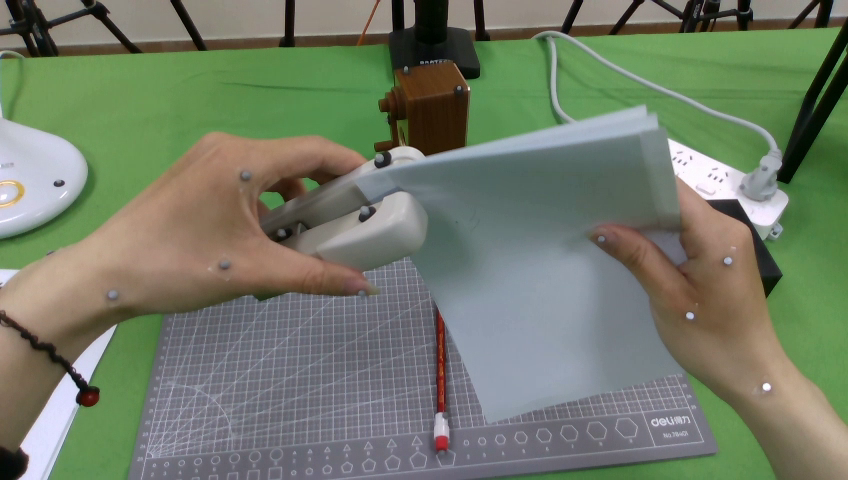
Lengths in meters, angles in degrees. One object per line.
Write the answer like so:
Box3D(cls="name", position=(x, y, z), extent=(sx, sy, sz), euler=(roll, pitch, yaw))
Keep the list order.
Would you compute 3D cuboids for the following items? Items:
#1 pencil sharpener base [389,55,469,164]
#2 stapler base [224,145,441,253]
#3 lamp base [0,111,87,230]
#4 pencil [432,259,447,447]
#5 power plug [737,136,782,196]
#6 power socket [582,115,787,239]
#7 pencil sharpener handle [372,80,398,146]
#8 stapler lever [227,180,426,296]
Box3D(cls="pencil sharpener base", position=(0.003, -0.141, 0.674), extent=(0.077, 0.108, 0.060), euler=(-12, 50, -12))
Box3D(cls="stapler base", position=(-0.053, -0.010, 0.340), extent=(0.130, 0.042, 0.024), euler=(-22, 37, 20))
Box3D(cls="lamp base", position=(-0.452, -0.126, 0.594), extent=(0.161, 0.182, 0.177), euler=(-29, 52, -25))
Box3D(cls="pencil", position=(0.013, 0.088, 0.529), extent=(0.012, 0.012, 0.192), euler=(1, 46, 0))
Box3D(cls="power plug", position=(0.363, -0.070, 0.642), extent=(0.072, 0.053, 0.035), euler=(-30, 55, -25))
Box3D(cls="power socket", position=(0.288, -0.075, 0.676), extent=(0.225, 0.033, 0.072), euler=(34, 54, 26))
Box3D(cls="pencil sharpener handle", position=(-0.044, -0.135, 0.649), extent=(0.031, 0.068, 0.035), euler=(-13, 27, -12))
Box3D(cls="stapler lever", position=(-0.054, 0.004, 0.326), extent=(0.118, 0.027, 0.040), euler=(-25, 36, 16))
